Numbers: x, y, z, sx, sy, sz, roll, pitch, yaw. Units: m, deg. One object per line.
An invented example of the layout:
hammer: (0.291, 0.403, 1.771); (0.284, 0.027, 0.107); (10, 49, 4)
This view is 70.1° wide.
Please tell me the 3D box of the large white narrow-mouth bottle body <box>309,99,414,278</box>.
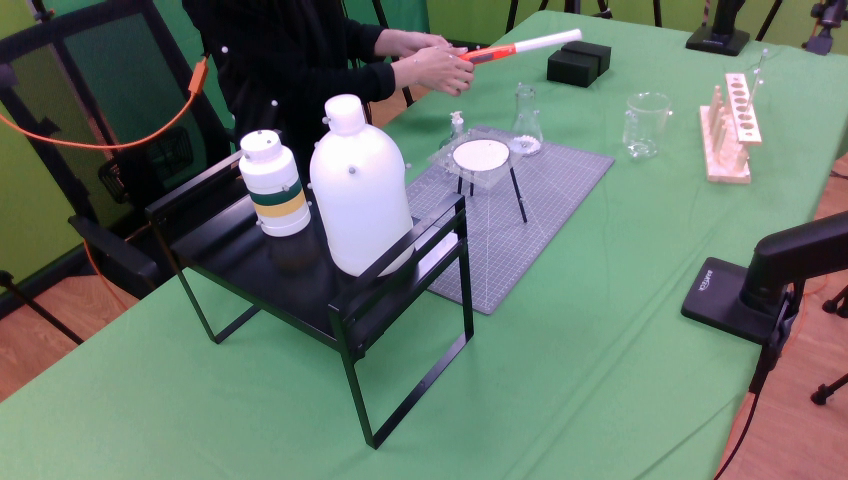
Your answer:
large white narrow-mouth bottle body: (-0.068, -0.057, 0.644); (0.102, 0.195, 0.101); (-4, 42, 4)

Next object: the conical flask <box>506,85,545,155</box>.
conical flask: (0.190, -0.227, 1.134); (0.075, 0.122, 0.075); (-4, 41, 4)

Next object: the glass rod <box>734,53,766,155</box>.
glass rod: (0.540, -0.220, 1.007); (0.008, 0.201, 0.008); (-5, 46, 6)

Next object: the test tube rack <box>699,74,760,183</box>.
test tube rack: (0.547, -0.208, 1.095); (0.066, 0.085, 0.242); (6, 42, 16)

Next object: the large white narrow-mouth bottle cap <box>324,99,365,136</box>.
large white narrow-mouth bottle cap: (-0.076, -0.119, 0.586); (0.038, 0.024, 0.037); (-3, 42, 4)

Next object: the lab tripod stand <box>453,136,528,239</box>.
lab tripod stand: (0.094, -0.086, 0.974); (0.148, 0.132, 0.147); (-4, 43, 4)

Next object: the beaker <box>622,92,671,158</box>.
beaker: (0.402, -0.210, 1.106); (0.074, 0.101, 0.083); (-9, 40, -2)

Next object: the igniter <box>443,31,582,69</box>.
igniter: (0.174, -0.380, 1.210); (0.276, 0.025, 0.057); (-10, 27, 8)

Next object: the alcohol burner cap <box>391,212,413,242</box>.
alcohol burner cap: (-0.038, -0.023, 0.989); (0.034, 0.048, 0.033); (-5, 40, 4)

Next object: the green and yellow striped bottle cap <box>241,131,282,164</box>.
green and yellow striped bottle cap: (-0.187, -0.107, 0.695); (0.045, 0.020, 0.045); (-3, 39, 3)

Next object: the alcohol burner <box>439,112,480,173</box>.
alcohol burner: (0.064, -0.183, 1.107); (0.078, 0.119, 0.077); (-4, 43, 4)

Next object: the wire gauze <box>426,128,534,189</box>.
wire gauze: (0.086, -0.131, 0.923); (0.124, 0.011, 0.122); (26, 52, 33)

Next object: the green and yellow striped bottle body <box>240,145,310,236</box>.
green and yellow striped bottle body: (-0.181, -0.068, 0.729); (0.063, 0.120, 0.063); (-4, 40, 4)
